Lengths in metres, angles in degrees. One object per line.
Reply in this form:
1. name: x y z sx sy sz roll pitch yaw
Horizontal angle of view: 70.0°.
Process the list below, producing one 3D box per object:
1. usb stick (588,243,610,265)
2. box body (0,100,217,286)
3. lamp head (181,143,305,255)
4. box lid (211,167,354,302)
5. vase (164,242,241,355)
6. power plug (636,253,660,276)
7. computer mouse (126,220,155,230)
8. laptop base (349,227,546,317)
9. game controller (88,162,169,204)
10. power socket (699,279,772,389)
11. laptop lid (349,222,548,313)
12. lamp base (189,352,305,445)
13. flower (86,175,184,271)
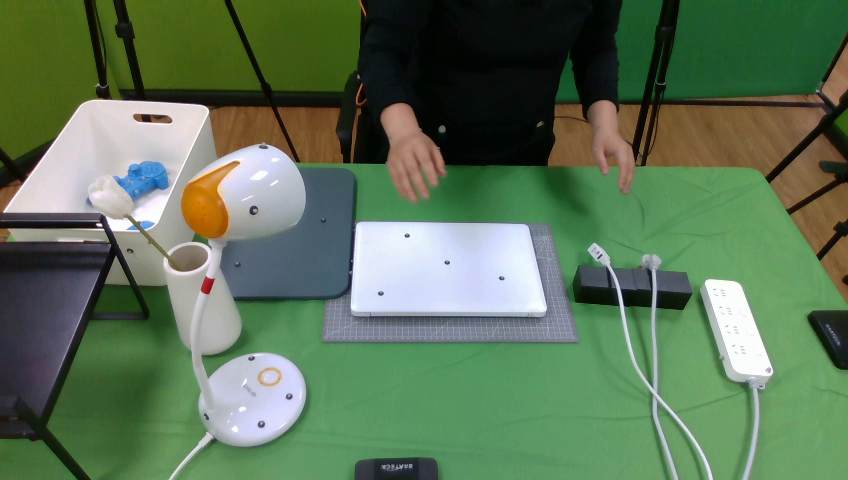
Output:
1. usb stick: 0.336 0.025 1.172 0.027 0.021 0.059 32 17 -12
2. box body: -0.560 -0.092 1.145 0.254 0.161 0.361 3 46 -2
3. lamp head: -0.216 -0.044 0.697 0.112 0.113 0.123 23 31 17
4. box lid: -0.277 -0.024 1.205 0.263 0.015 0.369 0 46 -4
5. vase: -0.349 0.096 0.954 0.098 0.201 0.097 3 47 -3
6. power plug: 0.415 0.050 1.139 0.035 0.053 0.072 47 48 11
7. computer mouse: -0.537 0.008 1.127 0.062 0.041 0.117 32 56 20
8. laptop base: 0.040 0.055 1.149 0.355 0.023 0.234 1 43 -4
9. game controller: -0.597 -0.113 1.234 0.097 0.052 0.155 29 51 20
10. power socket: 0.551 0.157 1.081 0.072 0.033 0.225 5 46 1
11. laptop lid: 0.041 0.045 1.143 0.357 0.013 0.240 2 44 -3
12. lamp base: -0.268 0.196 0.876 0.160 0.181 0.179 26 52 20
13. flower: -0.365 0.038 0.894 0.038 0.364 0.044 -4 53 15
